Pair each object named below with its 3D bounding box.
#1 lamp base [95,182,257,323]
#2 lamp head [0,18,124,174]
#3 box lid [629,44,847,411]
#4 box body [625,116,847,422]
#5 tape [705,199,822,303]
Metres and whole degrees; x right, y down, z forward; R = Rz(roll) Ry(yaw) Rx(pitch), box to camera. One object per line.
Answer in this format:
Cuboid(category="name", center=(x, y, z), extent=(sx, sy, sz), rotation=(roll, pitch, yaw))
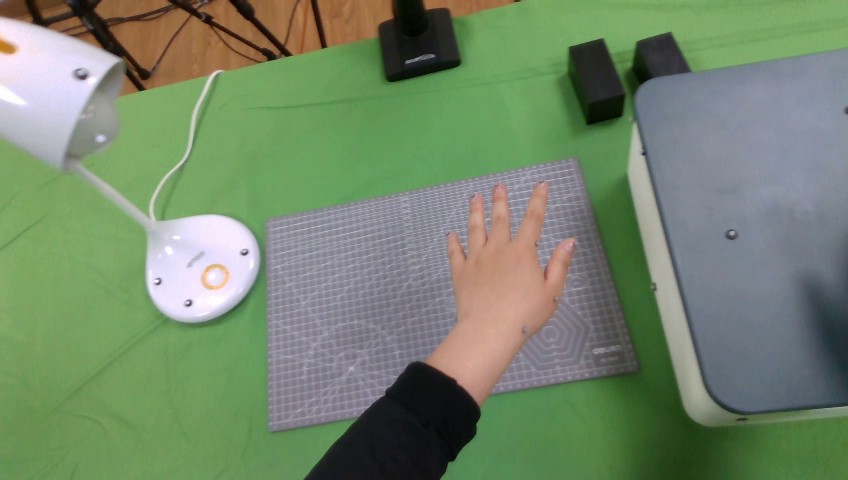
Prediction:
Cuboid(category="lamp base", center=(-0.333, 0.001, 0.778), extent=(0.178, 0.182, 0.160), rotation=(26, 72, 23))
Cuboid(category="lamp head", center=(-0.334, -0.129, 0.507), extent=(0.123, 0.112, 0.112), rotation=(25, 68, -16))
Cuboid(category="box lid", center=(0.365, -0.032, 0.589), extent=(0.263, 0.015, 0.368), rotation=(-8, 65, 7))
Cuboid(category="box body", center=(0.377, 0.002, 0.654), extent=(0.254, 0.162, 0.361), rotation=(-8, 64, 7))
Cuboid(category="tape", center=(0.390, 0.013, 0.702), extent=(0.117, 0.053, 0.116), rotation=(-4, 65, 8))
